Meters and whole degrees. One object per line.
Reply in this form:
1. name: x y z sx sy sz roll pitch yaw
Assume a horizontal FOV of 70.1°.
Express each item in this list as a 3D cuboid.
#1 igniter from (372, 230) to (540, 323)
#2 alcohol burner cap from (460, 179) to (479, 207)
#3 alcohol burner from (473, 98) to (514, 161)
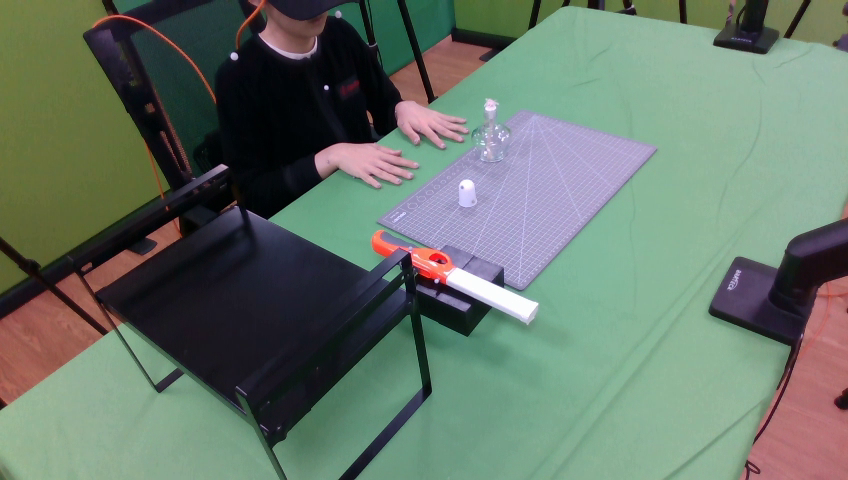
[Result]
1. igniter: 0.032 0.045 0.842 0.274 0.025 0.057 24 47 28
2. alcohol burner cap: 0.078 -0.084 1.041 0.034 0.048 0.033 -5 43 5
3. alcohol burner: 0.127 -0.208 1.123 0.078 0.119 0.077 -5 39 5
